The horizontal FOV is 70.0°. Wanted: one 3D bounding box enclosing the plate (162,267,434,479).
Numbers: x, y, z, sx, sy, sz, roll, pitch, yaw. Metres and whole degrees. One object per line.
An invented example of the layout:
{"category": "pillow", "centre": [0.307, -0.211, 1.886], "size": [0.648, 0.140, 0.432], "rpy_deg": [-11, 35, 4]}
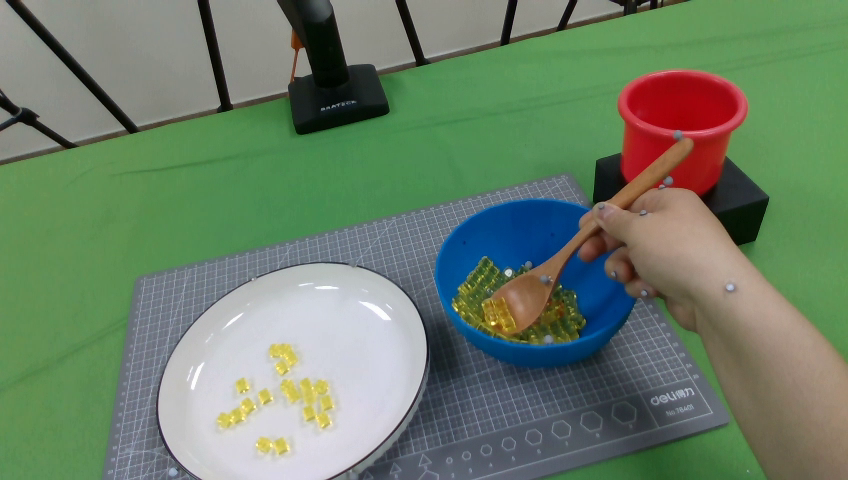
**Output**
{"category": "plate", "centre": [-0.093, 0.107, 0.472], "size": [0.207, 0.039, 0.205], "rpy_deg": [-5, 44, 6]}

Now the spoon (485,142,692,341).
{"category": "spoon", "centre": [0.116, 0.003, 0.435], "size": [0.194, 0.022, 0.041], "rpy_deg": [-48, 46, 16]}

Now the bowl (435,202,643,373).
{"category": "bowl", "centre": [0.087, 0.049, 0.470], "size": [0.151, 0.077, 0.150], "rpy_deg": [-5, 44, 6]}
